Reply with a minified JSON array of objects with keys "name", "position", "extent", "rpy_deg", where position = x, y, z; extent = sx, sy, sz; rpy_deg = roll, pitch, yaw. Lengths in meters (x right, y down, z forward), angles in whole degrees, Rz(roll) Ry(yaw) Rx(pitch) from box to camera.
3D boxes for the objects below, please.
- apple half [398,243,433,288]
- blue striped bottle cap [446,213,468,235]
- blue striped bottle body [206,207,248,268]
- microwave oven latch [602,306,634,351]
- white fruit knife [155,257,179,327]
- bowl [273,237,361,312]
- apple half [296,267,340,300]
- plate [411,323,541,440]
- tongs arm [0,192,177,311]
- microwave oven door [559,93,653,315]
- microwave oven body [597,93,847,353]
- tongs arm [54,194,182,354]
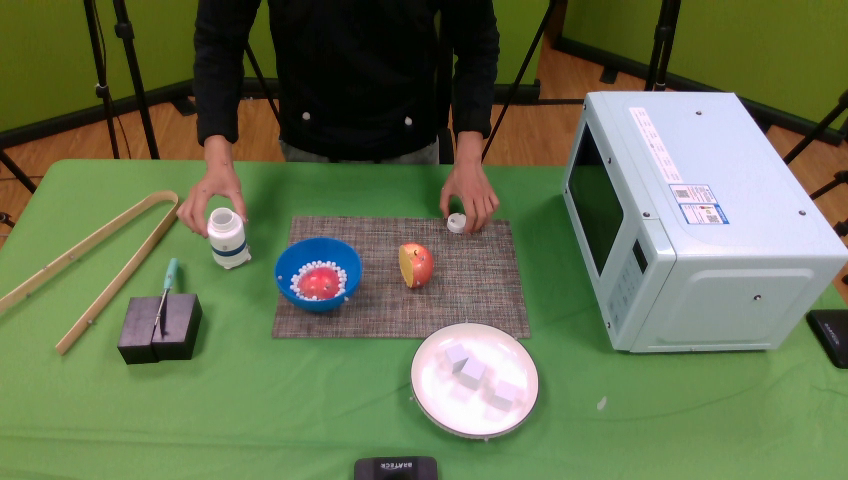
[{"name":"apple half","position":[-0.012,0.046,1.115],"extent":[0.053,0.075,0.080],"rpy_deg":[-11,44,-19]},{"name":"blue striped bottle cap","position":[0.068,-0.033,1.239],"extent":[0.044,0.021,0.044],"rpy_deg":[0,47,0]},{"name":"blue striped bottle body","position":[-0.357,-0.007,1.096],"extent":[0.063,0.121,0.062],"rpy_deg":[5,54,-6]},{"name":"microwave oven latch","position":[0.332,0.153,1.044],"extent":[0.030,0.029,0.078],"rpy_deg":[-1,45,-4]},{"name":"white fruit knife","position":[-0.440,0.085,1.037],"extent":[0.016,0.027,0.206],"rpy_deg":[10,26,-19]},{"name":"bowl","position":[-0.186,0.074,1.069],"extent":[0.151,0.077,0.150],"rpy_deg":[3,45,-3]},{"name":"apple half","position":[-0.187,0.071,1.067],"extent":[0.081,0.033,0.081],"rpy_deg":[2,47,-2]},{"name":"plate","position":[0.082,0.228,0.976],"extent":[0.208,0.039,0.206],"rpy_deg":[2,45,-2]},{"name":"tongs arm","position":[-0.618,0.019,1.124],"extent":[0.050,0.026,0.384],"rpy_deg":[24,47,16]},{"name":"microwave oven door","position":[0.327,-0.074,1.123],"extent":[0.039,0.245,0.353],"rpy_deg":[-1,46,-5]},{"name":"microwave oven body","position":[0.475,-0.041,1.109],"extent":[0.326,0.261,0.438],"rpy_deg":[-1,45,-4]},{"name":"tongs arm","position":[-0.543,0.048,1.107],"extent":[0.028,0.028,0.385],"rpy_deg":[11,46,10]}]
